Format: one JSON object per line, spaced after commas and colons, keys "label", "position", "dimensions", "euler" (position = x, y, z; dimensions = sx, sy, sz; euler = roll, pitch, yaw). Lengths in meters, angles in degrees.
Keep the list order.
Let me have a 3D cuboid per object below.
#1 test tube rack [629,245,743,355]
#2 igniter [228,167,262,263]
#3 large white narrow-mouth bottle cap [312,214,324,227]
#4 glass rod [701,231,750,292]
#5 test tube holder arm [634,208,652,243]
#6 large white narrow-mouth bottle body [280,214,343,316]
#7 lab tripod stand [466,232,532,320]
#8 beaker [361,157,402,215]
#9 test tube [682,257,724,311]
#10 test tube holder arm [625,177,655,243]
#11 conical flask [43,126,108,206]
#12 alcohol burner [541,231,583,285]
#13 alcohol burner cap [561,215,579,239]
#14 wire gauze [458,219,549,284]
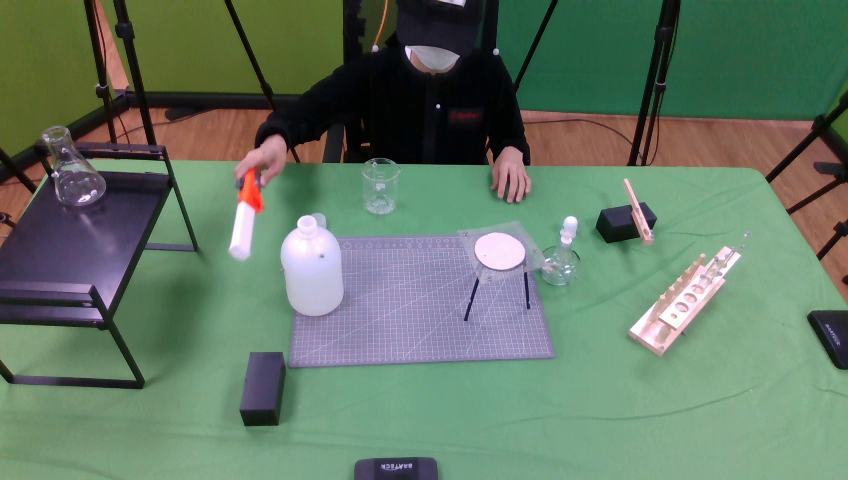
{"label": "test tube rack", "position": [0.474, 0.095, 1.091], "dimensions": [0.242, 0.085, 0.066], "euler": [-34, 56, -31]}
{"label": "igniter", "position": [-0.302, -0.053, 1.032], "dimensions": [0.025, 0.057, 0.274], "euler": [-35, 33, 14]}
{"label": "large white narrow-mouth bottle cap", "position": [-0.219, -0.033, 1.214], "dimensions": [0.038, 0.024, 0.037], "euler": [2, 46, -2]}
{"label": "glass rod", "position": [0.519, 0.045, 1.050], "dimensions": [0.008, 0.201, 0.008], "euler": [0, 55, 0]}
{"label": "test tube holder arm", "position": [0.428, -0.030, 1.189], "dimensions": [0.010, 0.015, 0.087], "euler": [1, 47, -2]}
{"label": "large white narrow-mouth bottle body", "position": [-0.190, 0.035, 1.025], "dimensions": [0.102, 0.195, 0.101], "euler": [2, 46, -2]}
{"label": "lab tripod stand", "position": [0.125, 0.059, 1.065], "dimensions": [0.148, 0.132, 0.147], "euler": [1, 45, 0]}
{"label": "beaker", "position": [-0.086, -0.108, 1.241], "dimensions": [0.084, 0.101, 0.073], "euler": [-8, 48, -13]}
{"label": "test tube", "position": [0.475, 0.080, 1.037], "dimensions": [0.017, 0.151, 0.017], "euler": [2, 51, -2]}
{"label": "test tube holder arm", "position": [0.433, -0.063, 1.220], "dimensions": [0.013, 0.015, 0.177], "euler": [1, 47, -3]}
{"label": "conical flask", "position": [-0.555, -0.119, 0.953], "dimensions": [0.075, 0.122, 0.075], "euler": [2, 46, -2]}
{"label": "alcohol burner", "position": [0.258, 0.028, 1.123], "dimensions": [0.078, 0.120, 0.077], "euler": [1, 47, -1]}
{"label": "alcohol burner cap", "position": [0.299, -0.030, 1.231], "dimensions": [0.034, 0.048, 0.033], "euler": [1, 46, -1]}
{"label": "wire gauze", "position": [0.131, 0.014, 1.015], "dimensions": [0.121, 0.011, 0.124], "euler": [-12, 47, -14]}
